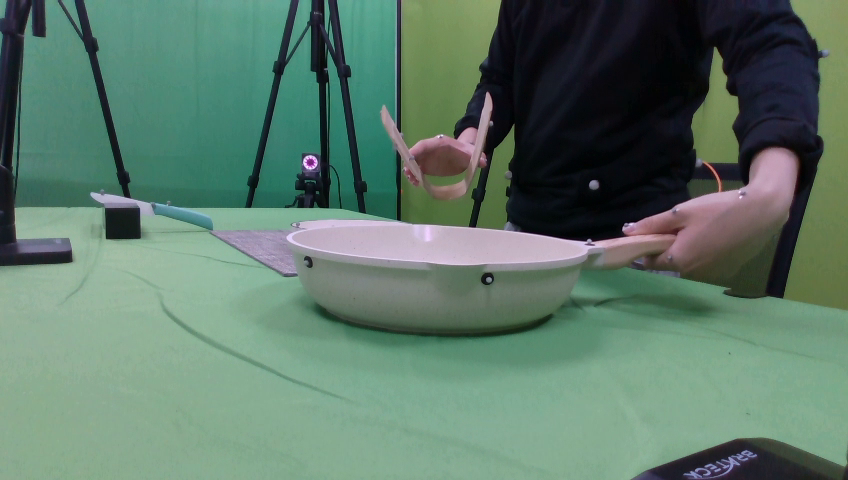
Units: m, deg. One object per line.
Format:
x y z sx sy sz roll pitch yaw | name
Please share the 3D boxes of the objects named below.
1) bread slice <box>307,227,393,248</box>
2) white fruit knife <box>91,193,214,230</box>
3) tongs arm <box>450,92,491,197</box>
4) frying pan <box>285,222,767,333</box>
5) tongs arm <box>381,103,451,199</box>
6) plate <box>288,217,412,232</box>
-0.115 -0.005 0.950 0.134 0.018 0.107 3 6 -7 | bread slice
-0.478 -0.055 1.077 0.208 0.027 0.016 14 -1 -30 | white fruit knife
0.067 -0.125 0.892 0.028 0.027 0.387 -10 -10 -4 | tongs arm
0.114 0.015 0.610 0.489 0.102 0.306 -7 9 -4 | frying pan
-0.001 -0.118 0.896 0.051 0.026 0.385 -8 -11 6 | tongs arm
-0.110 -0.007 0.956 0.208 0.039 0.207 2 7 0 | plate
